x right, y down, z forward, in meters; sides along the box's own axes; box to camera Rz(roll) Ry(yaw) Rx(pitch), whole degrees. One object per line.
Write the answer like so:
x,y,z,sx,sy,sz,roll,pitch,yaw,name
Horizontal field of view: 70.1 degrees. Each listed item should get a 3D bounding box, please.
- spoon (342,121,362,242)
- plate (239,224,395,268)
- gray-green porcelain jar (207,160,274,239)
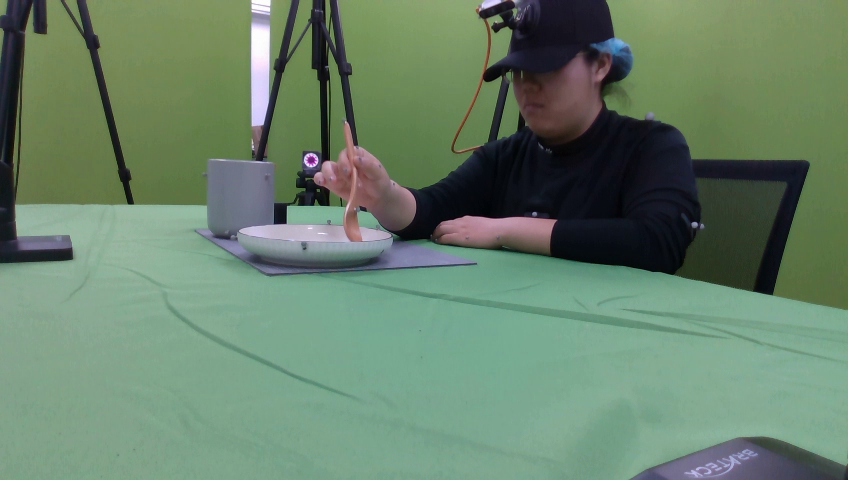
-0.097,-0.076,0.812,0.021,0.193,0.042,-12,-23,22,spoon
-0.144,0.007,0.823,0.208,0.039,0.207,3,7,0,plate
-0.304,-0.068,1.003,0.106,0.126,0.106,3,7,0,gray-green porcelain jar
